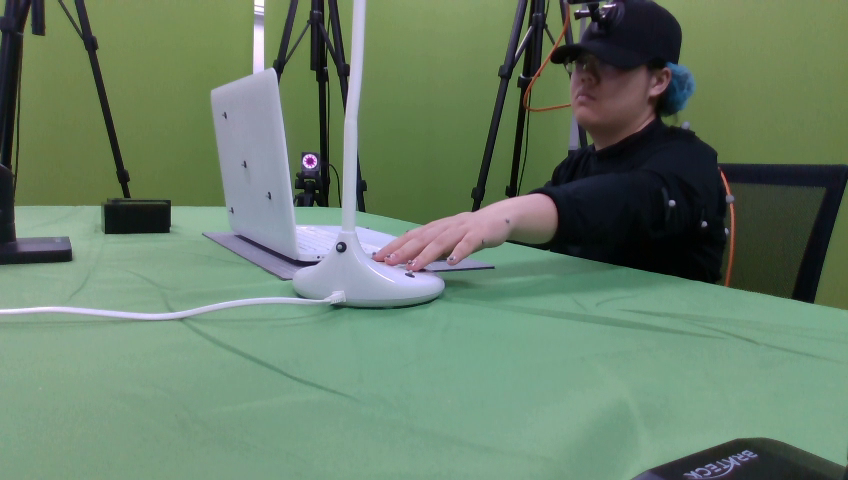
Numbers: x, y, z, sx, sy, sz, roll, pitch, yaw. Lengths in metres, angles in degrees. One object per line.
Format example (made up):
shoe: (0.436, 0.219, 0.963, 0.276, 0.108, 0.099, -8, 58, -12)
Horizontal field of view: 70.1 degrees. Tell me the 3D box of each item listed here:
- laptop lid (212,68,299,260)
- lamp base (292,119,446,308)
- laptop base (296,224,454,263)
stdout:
laptop lid: (-0.254, -0.110, 0.872, 0.013, 0.241, 0.355, -11, 14, -30)
lamp base: (-0.056, -0.030, 0.616, 0.160, 0.180, 0.179, 3, 10, 8)
laptop base: (-0.143, 0.003, 0.957, 0.237, 0.023, 0.352, 2, 7, -32)
